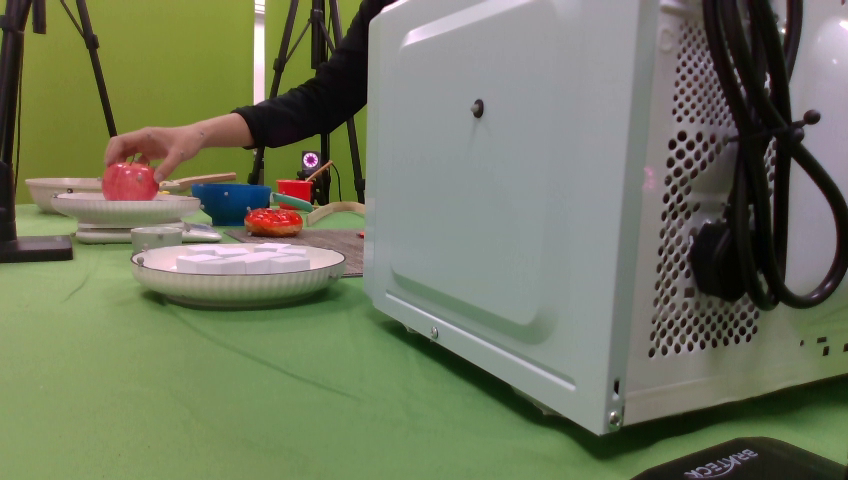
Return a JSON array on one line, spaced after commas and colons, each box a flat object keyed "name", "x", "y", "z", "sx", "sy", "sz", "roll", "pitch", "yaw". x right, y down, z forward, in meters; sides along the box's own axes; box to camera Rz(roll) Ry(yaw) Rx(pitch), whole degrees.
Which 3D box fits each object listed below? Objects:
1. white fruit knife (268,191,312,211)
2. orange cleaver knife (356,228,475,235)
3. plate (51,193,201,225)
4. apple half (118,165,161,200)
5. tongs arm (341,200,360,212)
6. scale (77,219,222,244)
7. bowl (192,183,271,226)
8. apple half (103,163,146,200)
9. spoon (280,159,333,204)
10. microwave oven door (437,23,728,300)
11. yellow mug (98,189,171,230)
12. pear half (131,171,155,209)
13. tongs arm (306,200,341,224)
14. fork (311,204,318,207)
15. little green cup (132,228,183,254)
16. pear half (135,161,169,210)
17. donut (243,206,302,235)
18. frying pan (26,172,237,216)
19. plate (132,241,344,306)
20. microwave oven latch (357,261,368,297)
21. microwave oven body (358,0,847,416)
[{"name": "white fruit knife", "x": -0.364, "y": -0.105, "z": 1.464, "sx": 0.208, "sy": 0.027, "sz": 0.016, "roll": 15, "pitch": 0, "yaw": -34}, {"name": "orange cleaver knife", "x": -0.017, "y": -0.015, "z": 1.080, "sx": 0.211, "sy": 0.012, "sz": 0.077, "roll": 0, "pitch": 1, "yaw": -3}, {"name": "plate", "x": -0.460, "y": -0.050, "z": 0.945, "sx": 0.209, "sy": 0.038, "sz": 0.209, "roll": 2, "pitch": 7, "yaw": 0}, {"name": "apple half", "x": -0.432, "y": -0.078, "z": 0.936, "sx": 0.032, "sy": 0.081, "sz": 0.081, "roll": 9, "pitch": 9, "yaw": 18}, {"name": "tongs arm", "x": -0.149, "y": -0.070, "z": 1.429, "sx": 0.051, "sy": 0.026, "sz": 0.383, "roll": -3, "pitch": 8, "yaw": -15}, {"name": "scale", "x": -0.434, "y": -0.018, "z": 0.963, "sx": 0.202, "sy": 0.031, "sz": 0.148, "roll": -1, "pitch": 9, "yaw": -27}, {"name": "bowl", "x": -0.382, "y": -0.070, "z": 1.202, "sx": 0.151, "sy": 0.077, "sz": 0.151, "roll": 3, "pitch": 7, "yaw": 0}, {"name": "apple half", "x": -0.468, "y": -0.085, "z": 0.947, "sx": 0.053, "sy": 0.074, "sz": 0.081, "roll": 9, "pitch": 15, "yaw": 18}, {"name": "spoon", "x": -0.316, "y": -0.159, "z": 1.640, "sx": 0.194, "sy": 0.022, "sz": 0.041, "roll": -49, "pitch": 31, "yaw": -20}, {"name": "microwave oven door", "x": 0.180, "y": -0.073, "z": 0.621, "sx": 0.358, "sy": 0.243, "sz": 0.039, "roll": -2, "pitch": 8, "yaw": -29}, {"name": "yellow mug", "x": -0.519, "y": -0.055, "z": 1.080, "sx": 0.099, "sy": 0.064, "sz": 0.131, "roll": 7, "pitch": 10, "yaw": 26}, {"name": "pear half", "x": -0.638, "y": -0.113, "z": 1.361, "sx": 0.031, "sy": 0.088, "sz": 0.070, "roll": 5, "pitch": 10, "yaw": 4}, {"name": "tongs arm", "x": -0.234, "y": -0.069, "z": 1.414, "sx": 0.028, "sy": 0.028, "sz": 0.387, "roll": -4, "pitch": 7, "yaw": 1}, {"name": "fork", "x": -0.356, "y": -0.105, "z": 1.526, "sx": 0.208, "sy": 0.018, "sz": 0.028, "roll": 16, "pitch": -5, "yaw": -41}, {"name": "little green cup", "x": -0.342, "y": 0.006, "z": 0.779, "sx": 0.061, "sy": 0.038, "sz": 0.061, "roll": 2, "pitch": 8, "yaw": 0}, {"name": "pear half", "x": -0.602, "y": -0.120, "z": 1.354, "sx": 0.056, "sy": 0.110, "sz": 0.076, "roll": 4, "pitch": 11, "yaw": 6}, {"name": "donut", "x": -0.261, "y": -0.032, "z": 1.042, "sx": 0.099, "sy": 0.048, "sz": 0.099, "roll": 3, "pitch": 9, "yaw": 0}, {"name": "frying pan", "x": -0.624, "y": -0.118, "z": 1.387, "sx": 0.305, "sy": 0.102, "sz": 0.490, "roll": 8, "pitch": 17, "yaw": 32}, {"name": "plate", "x": -0.187, "y": 0.033, "z": 0.625, "sx": 0.208, "sy": 0.039, "sz": 0.207, "roll": 2, "pitch": 7, "yaw": 0}, {"name": "microwave oven latch", "x": -0.019, "y": 0.033, "z": 0.530, "sx": 0.079, "sy": 0.029, "sz": 0.030, "roll": -1, "pitch": 7, "yaw": -26}, {"name": "microwave oven body", "x": 0.211, "y": -0.047, "z": 0.474, "sx": 0.444, "sy": 0.260, "sz": 0.324, "roll": -1, "pitch": 7, "yaw": -28}]
